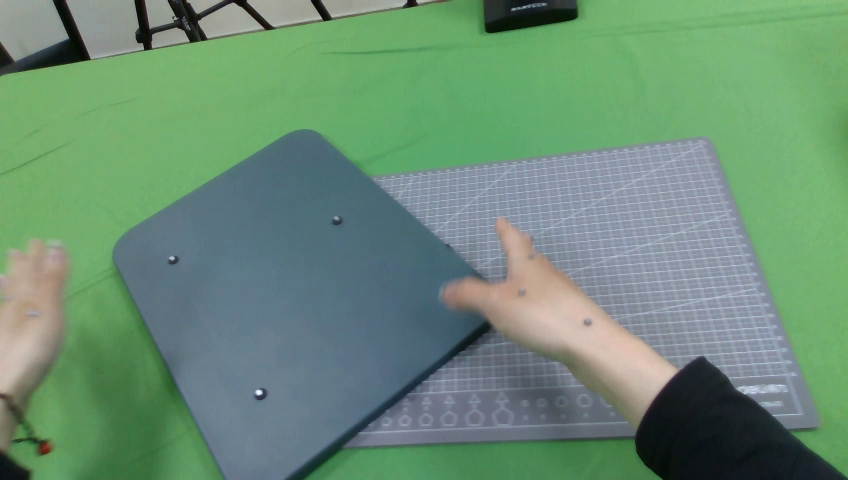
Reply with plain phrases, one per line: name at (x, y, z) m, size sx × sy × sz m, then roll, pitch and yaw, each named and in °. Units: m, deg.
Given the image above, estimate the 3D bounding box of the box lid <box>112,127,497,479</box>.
box lid at (-0.134, 0.030, 0.581) m, size 0.263 × 0.015 × 0.367 m, roll -36°, pitch 51°, yaw -15°
